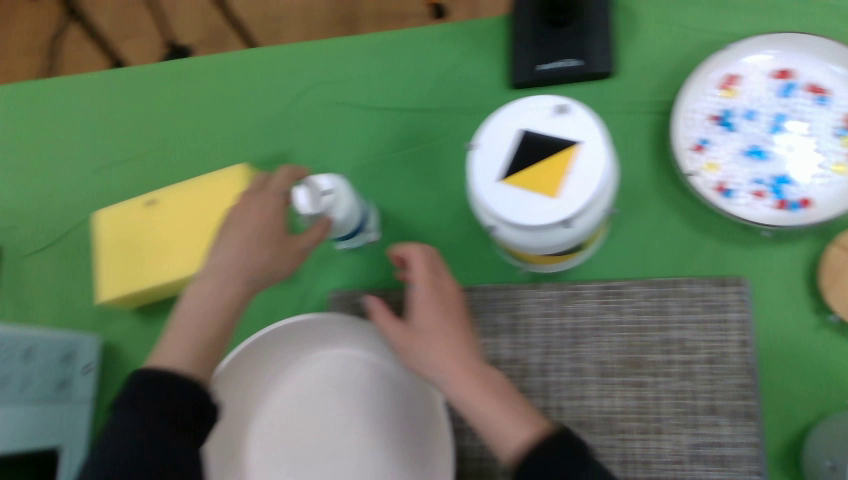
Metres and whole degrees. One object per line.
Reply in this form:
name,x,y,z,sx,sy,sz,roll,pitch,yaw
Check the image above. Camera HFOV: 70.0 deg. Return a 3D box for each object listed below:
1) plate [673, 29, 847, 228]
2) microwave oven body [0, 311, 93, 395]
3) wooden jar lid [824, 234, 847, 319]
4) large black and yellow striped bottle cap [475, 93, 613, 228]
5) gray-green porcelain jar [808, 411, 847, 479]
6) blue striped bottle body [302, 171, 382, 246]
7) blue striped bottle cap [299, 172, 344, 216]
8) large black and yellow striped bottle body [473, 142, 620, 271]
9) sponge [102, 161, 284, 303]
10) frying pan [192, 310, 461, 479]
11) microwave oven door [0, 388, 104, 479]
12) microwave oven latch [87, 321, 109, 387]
plate,0.362,-0.111,0.615,0.208,0.038,0.208,-3,78,14
microwave oven body,-0.578,0.296,0.647,0.325,0.262,0.439,-2,78,14
wooden jar lid,0.439,0.037,0.573,0.108,0.021,0.108,-3,79,15
large black and yellow striped bottle cap,0.099,-0.067,0.508,0.115,0.019,0.114,-3,79,14
gray-green porcelain jar,0.389,0.194,0.497,0.105,0.127,0.105,-3,77,14
blue striped bottle body,-0.093,-0.036,0.670,0.063,0.121,0.063,-3,76,12
blue striped bottle cap,-0.106,-0.047,0.623,0.044,0.021,0.044,-3,79,17
large black and yellow striped bottle body,0.120,-0.048,0.587,0.130,0.185,0.130,-3,77,14
sponge,-0.285,-0.007,0.746,0.206,0.061,0.117,-16,75,10
frying pan,-0.052,0.302,0.595,0.307,0.103,0.483,-33,64,6
microwave oven door,-0.439,0.330,0.598,0.039,0.245,0.354,-2,77,15
microwave oven latch,-0.406,0.138,0.738,0.030,0.030,0.079,-2,78,14
